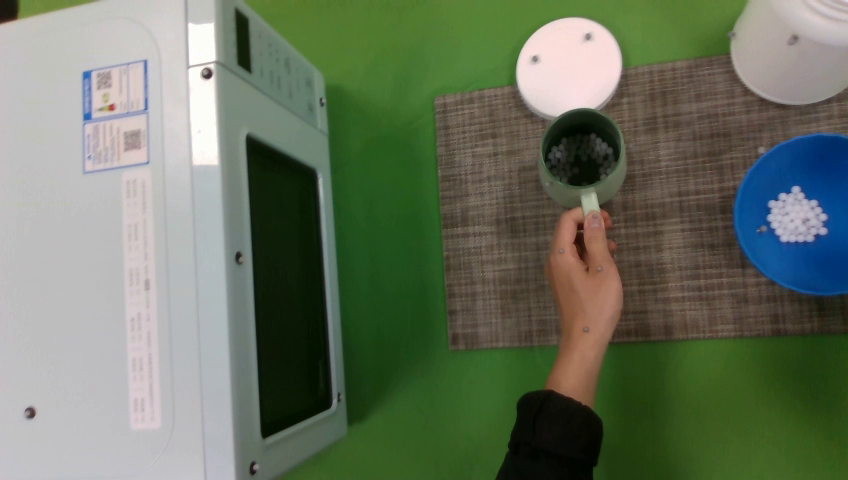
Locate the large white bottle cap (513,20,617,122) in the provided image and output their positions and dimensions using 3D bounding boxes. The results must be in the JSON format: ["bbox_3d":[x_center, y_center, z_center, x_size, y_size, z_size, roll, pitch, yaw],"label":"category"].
[{"bbox_3d":[0.158,-0.190,0.683,0.114,0.018,0.114,-1,85,13],"label":"large white bottle cap"}]

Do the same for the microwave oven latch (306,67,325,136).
[{"bbox_3d":[-0.138,-0.164,0.726,0.030,0.029,0.079,-7,85,12],"label":"microwave oven latch"}]

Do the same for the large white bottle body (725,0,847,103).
[{"bbox_3d":[0.362,-0.218,0.550,0.130,0.185,0.130,-2,81,14],"label":"large white bottle body"}]

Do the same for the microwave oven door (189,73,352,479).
[{"bbox_3d":[-0.144,0.044,0.607,0.039,0.245,0.355,-7,84,13],"label":"microwave oven door"}]

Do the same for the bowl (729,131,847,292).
[{"bbox_3d":[0.370,-0.023,0.588,0.151,0.077,0.151,-1,85,14],"label":"bowl"}]

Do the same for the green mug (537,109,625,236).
[{"bbox_3d":[0.165,-0.066,0.626,0.092,0.105,0.125,-12,83,13],"label":"green mug"}]

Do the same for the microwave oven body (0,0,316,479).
[{"bbox_3d":[-0.289,0.020,0.648,0.325,0.261,0.440,-7,85,12],"label":"microwave oven body"}]
